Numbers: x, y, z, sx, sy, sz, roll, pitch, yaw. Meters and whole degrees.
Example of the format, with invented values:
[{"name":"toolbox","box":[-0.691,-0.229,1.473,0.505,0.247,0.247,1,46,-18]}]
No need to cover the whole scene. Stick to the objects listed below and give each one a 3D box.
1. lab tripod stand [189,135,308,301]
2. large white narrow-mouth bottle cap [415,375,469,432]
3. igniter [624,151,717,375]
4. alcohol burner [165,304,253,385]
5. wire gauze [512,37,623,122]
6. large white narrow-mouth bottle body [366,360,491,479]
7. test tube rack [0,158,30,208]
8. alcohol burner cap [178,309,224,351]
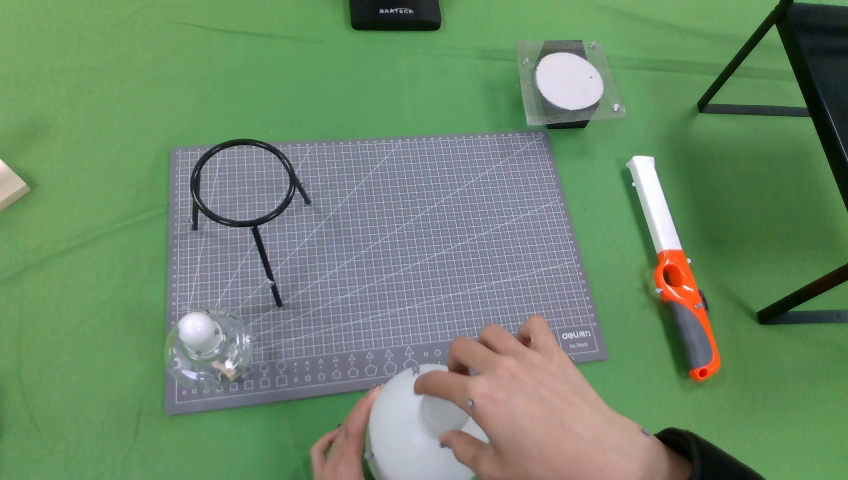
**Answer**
[{"name":"lab tripod stand","box":[-0.167,-0.026,0.594,0.149,0.132,0.147,4,65,-8]},{"name":"large white narrow-mouth bottle cap","box":[0.012,0.115,0.424,0.038,0.024,0.037,3,65,-6]},{"name":"igniter","box":[0.283,0.019,0.701,0.057,0.025,0.274,0,66,-20]},{"name":"alcohol burner","box":[-0.197,0.089,0.548,0.078,0.120,0.077,4,63,-8]},{"name":"wire gauze","box":[0.173,-0.200,0.742,0.122,0.011,0.124,-3,67,-9]},{"name":"large white narrow-mouth bottle body","box":[0.003,0.155,0.506,0.102,0.196,0.101,3,64,-6]},{"name":"test tube rack","box":[-0.518,-0.016,0.567,0.066,0.085,0.242,40,66,11]},{"name":"alcohol burner cap","box":[-0.191,0.075,0.515,0.034,0.048,0.033,2,71,-7]}]
